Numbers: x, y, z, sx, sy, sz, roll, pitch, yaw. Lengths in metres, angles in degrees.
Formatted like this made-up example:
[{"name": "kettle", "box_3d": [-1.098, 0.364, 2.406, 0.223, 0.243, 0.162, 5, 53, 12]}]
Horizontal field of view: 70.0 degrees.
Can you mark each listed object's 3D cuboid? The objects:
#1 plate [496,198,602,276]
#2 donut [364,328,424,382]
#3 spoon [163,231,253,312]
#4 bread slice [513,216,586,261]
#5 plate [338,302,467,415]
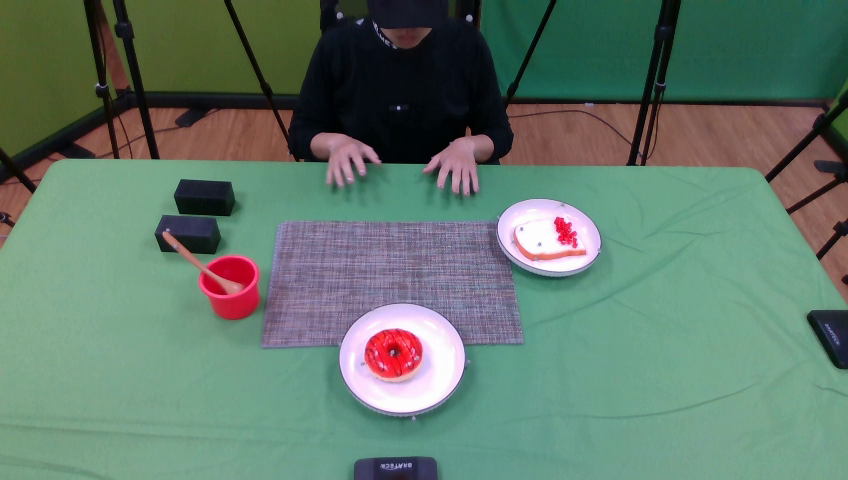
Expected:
[{"name": "plate", "box_3d": [0.246, -0.002, 1.205, 0.209, 0.038, 0.208, 2, 45, -2]}, {"name": "donut", "box_3d": [-0.049, 0.185, 0.984, 0.099, 0.048, 0.098, 1, 45, -1]}, {"name": "spoon", "box_3d": [-0.364, 0.054, 1.025, 0.194, 0.021, 0.041, 43, 49, -17]}, {"name": "bread slice", "box_3d": [0.247, -0.003, 1.209, 0.132, 0.019, 0.104, -8, 47, -13]}, {"name": "plate", "box_3d": [-0.035, 0.194, 0.992, 0.208, 0.039, 0.206, 2, 48, -2]}]
